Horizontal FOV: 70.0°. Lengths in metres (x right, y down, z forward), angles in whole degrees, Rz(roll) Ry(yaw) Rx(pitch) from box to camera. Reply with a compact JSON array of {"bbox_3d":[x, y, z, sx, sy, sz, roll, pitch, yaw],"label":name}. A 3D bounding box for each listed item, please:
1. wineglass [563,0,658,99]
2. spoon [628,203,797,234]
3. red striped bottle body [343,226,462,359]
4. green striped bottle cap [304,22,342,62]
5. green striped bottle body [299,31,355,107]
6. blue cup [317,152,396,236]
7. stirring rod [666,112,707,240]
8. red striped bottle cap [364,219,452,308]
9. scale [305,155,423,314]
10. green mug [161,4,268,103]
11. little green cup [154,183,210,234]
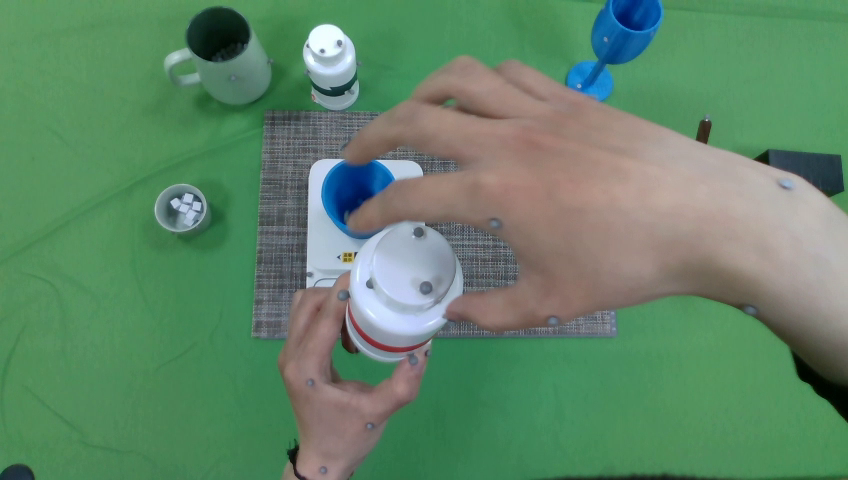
[{"bbox_3d":[0.230,-0.247,0.767,0.074,0.173,0.073,1,77,-2],"label":"wineglass"},{"bbox_3d":[0.342,-0.022,0.737,0.022,0.192,0.041,20,81,-43],"label":"spoon"},{"bbox_3d":[-0.015,0.031,0.360,0.063,0.120,0.062,3,69,-8],"label":"red striped bottle body"},{"bbox_3d":[-0.120,-0.235,0.716,0.044,0.020,0.044,1,76,-4],"label":"green striped bottle cap"},{"bbox_3d":[-0.122,-0.222,0.767,0.063,0.119,0.063,1,76,-3],"label":"green striped bottle body"},{"bbox_3d":[-0.077,-0.045,0.705,0.093,0.100,0.092,1,79,-5],"label":"blue cup"},{"bbox_3d":[0.323,-0.073,0.747,0.014,0.177,0.006,5,36,11],"label":"stirring rod"},{"bbox_3d":[-0.008,0.012,0.308,0.045,0.018,0.044,3,74,-11],"label":"red striped bottle cap"},{"bbox_3d":[-0.075,-0.010,0.764,0.149,0.031,0.200,-1,78,-3],"label":"scale"},{"bbox_3d":[-0.267,-0.228,0.767,0.125,0.105,0.092,-22,80,-8],"label":"green mug"},{"bbox_3d":[-0.299,-0.037,0.756,0.061,0.039,0.061,1,77,-4],"label":"little green cup"}]
